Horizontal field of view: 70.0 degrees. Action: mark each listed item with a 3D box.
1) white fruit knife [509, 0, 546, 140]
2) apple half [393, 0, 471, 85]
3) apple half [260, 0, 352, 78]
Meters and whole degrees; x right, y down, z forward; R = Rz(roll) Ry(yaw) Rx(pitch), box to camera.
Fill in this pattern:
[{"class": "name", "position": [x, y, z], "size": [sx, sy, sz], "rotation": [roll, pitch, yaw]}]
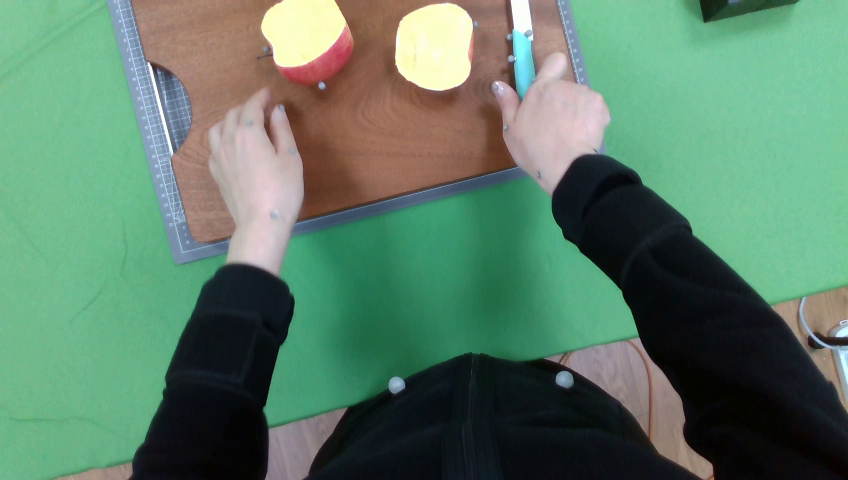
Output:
[{"class": "white fruit knife", "position": [0.094, -0.200, 0.586], "size": [0.027, 0.016, 0.207], "rotation": [-7, 89, -30]}, {"class": "apple half", "position": [0.010, -0.187, 0.574], "size": [0.081, 0.033, 0.081], "rotation": [2, 102, 9]}, {"class": "apple half", "position": [-0.104, -0.185, 0.558], "size": [0.074, 0.054, 0.080], "rotation": [-32, 67, 1]}]
